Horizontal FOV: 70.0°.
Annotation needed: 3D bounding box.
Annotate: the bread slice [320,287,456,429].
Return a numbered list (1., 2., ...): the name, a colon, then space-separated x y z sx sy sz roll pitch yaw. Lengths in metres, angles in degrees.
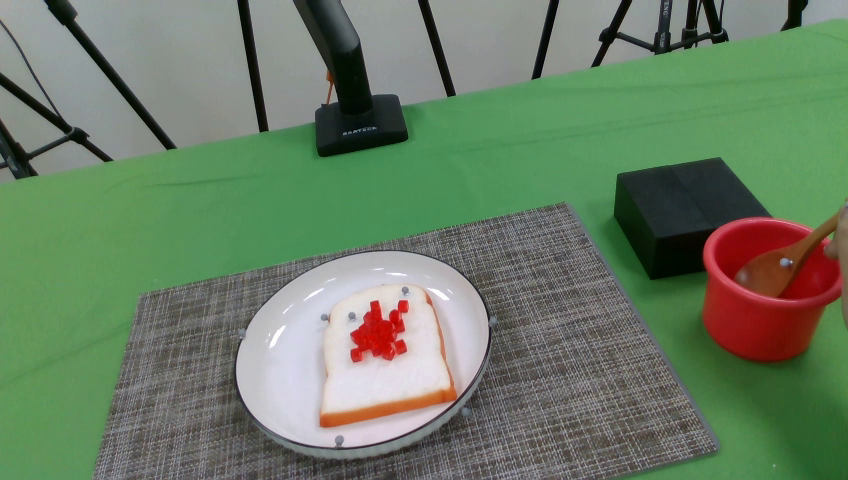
1. bread slice: -0.036 0.090 0.503 0.105 0.019 0.130 -10 41 -2

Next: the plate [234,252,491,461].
1. plate: -0.048 0.091 0.500 0.209 0.038 0.207 -6 40 5

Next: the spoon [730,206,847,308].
1. spoon: 0.275 -0.005 0.408 0.022 0.195 0.041 11 57 -6
